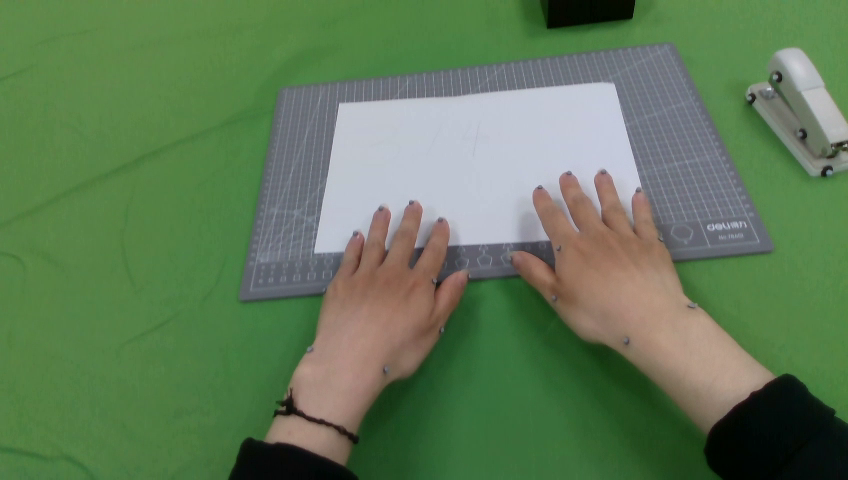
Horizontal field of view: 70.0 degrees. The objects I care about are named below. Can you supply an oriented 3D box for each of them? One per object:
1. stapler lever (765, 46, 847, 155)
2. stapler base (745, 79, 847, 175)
[{"bbox_3d":[0.350,-0.130,0.550,0.027,0.040,0.117,-14,53,1],"label":"stapler lever"},{"bbox_3d":[0.353,-0.116,0.571,0.041,0.025,0.129,-14,53,1],"label":"stapler base"}]
